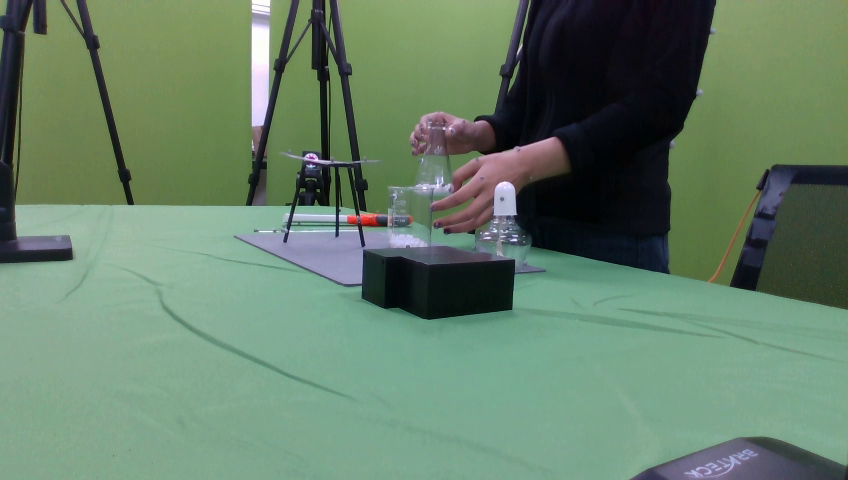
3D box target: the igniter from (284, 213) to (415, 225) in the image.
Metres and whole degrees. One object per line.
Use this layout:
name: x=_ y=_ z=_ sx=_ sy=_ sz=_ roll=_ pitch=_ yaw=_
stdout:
igniter: x=-0.154 y=-0.045 z=1.282 sx=0.278 sy=0.025 sz=0.057 roll=0 pitch=-2 yaw=-20

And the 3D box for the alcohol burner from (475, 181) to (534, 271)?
alcohol burner: x=0.108 y=-0.020 z=0.804 sx=0.078 sy=0.119 sz=0.078 roll=3 pitch=5 yaw=0

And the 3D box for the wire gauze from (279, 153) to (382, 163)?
wire gauze: x=-0.149 y=-0.129 z=0.974 sx=0.124 sy=0.011 sz=0.122 roll=10 pitch=9 yaw=41

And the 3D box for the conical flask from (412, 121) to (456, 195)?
conical flask: x=0.020 y=-0.138 z=1.019 sx=0.075 sy=0.122 sz=0.075 roll=3 pitch=7 yaw=0

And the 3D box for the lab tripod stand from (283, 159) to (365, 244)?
lab tripod stand: x=-0.151 y=-0.063 z=0.983 sx=0.148 sy=0.131 sz=0.148 roll=4 pitch=7 yaw=0

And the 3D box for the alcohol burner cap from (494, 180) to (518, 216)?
alcohol burner cap: x=0.108 y=-0.055 z=0.799 sx=0.034 sy=0.048 sz=0.034 roll=-2 pitch=4 yaw=0

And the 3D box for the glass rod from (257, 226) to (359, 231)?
glass rod: x=-0.215 y=-0.022 z=1.151 sx=0.201 sy=0.008 sz=0.008 roll=-2 pitch=8 yaw=-27

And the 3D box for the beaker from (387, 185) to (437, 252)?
beaker: x=-0.023 y=-0.035 z=0.941 sx=0.074 sy=0.100 sz=0.083 roll=-3 pitch=8 yaw=-38
